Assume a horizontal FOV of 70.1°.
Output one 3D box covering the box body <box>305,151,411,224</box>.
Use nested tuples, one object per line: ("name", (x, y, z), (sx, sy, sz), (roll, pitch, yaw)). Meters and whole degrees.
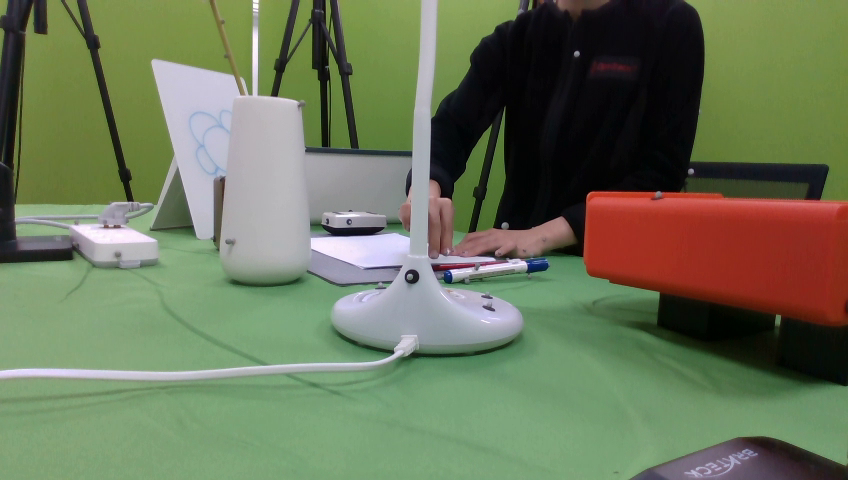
("box body", (-0.230, -0.126, 1.371), (0.366, 0.160, 0.253), (-2, 8, -33))

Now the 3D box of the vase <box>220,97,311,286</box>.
("vase", (-0.172, -0.052, 0.662), (0.098, 0.200, 0.098), (3, 8, 0))

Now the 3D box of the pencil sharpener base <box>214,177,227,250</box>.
("pencil sharpener base", (-0.265, -0.036, 0.870), (0.061, 0.107, 0.076), (-2, 8, -29))

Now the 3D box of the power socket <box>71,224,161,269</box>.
("power socket", (-0.408, 0.004, 0.793), (0.072, 0.032, 0.225), (-2, 8, -38))

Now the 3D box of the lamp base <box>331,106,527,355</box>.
("lamp base", (0.006, -0.012, 0.478), (0.161, 0.180, 0.179), (2, 10, 2))

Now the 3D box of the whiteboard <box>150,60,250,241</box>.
("whiteboard", (-0.408, -0.139, 1.093), (0.143, 0.305, 0.218), (-15, -1, 26))

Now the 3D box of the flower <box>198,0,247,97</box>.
("flower", (-0.187, -0.133, 0.648), (0.038, 0.362, 0.044), (-1, 22, 43))

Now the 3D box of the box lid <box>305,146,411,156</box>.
("box lid", (-0.229, -0.200, 1.360), (0.373, 0.015, 0.262), (-3, 9, -33))

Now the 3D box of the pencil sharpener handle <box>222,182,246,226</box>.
("pencil sharpener handle", (-0.289, -0.055, 0.912), (0.036, 0.067, 0.030), (-3, 9, -29))

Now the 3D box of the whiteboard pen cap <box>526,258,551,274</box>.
("whiteboard pen cap", (0.141, 0.033, 0.759), (0.033, 0.018, 0.018), (-8, 11, -26))

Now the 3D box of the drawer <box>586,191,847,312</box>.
("drawer", (0.281, 0.001, 0.513), (0.195, 0.073, 0.210), (-1, 8, -29))

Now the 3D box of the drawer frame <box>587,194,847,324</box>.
("drawer frame", (0.286, 0.004, 0.508), (0.203, 0.082, 0.212), (-1, 6, -30))

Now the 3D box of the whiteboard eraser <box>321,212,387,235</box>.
("whiteboard eraser", (-0.128, -0.031, 1.108), (0.113, 0.042, 0.055), (-3, 8, -38))

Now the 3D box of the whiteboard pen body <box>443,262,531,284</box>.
("whiteboard pen body", (0.087, 0.038, 0.734), (0.141, 0.017, 0.017), (-5, 10, -27))

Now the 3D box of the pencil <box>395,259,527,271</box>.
("pencil", (0.052, 0.034, 0.784), (0.195, 0.012, 0.012), (-2, 9, -25))

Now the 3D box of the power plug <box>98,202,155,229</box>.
("power plug", (-0.416, -0.026, 0.848), (0.073, 0.052, 0.035), (0, 8, -28))
